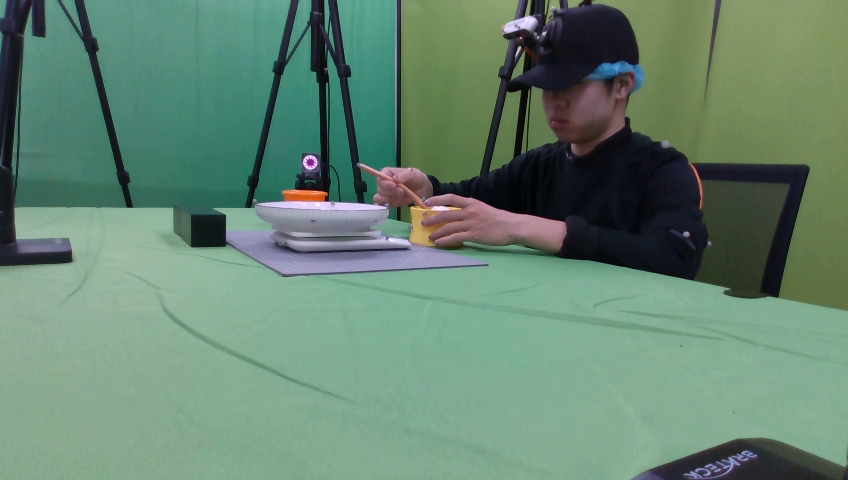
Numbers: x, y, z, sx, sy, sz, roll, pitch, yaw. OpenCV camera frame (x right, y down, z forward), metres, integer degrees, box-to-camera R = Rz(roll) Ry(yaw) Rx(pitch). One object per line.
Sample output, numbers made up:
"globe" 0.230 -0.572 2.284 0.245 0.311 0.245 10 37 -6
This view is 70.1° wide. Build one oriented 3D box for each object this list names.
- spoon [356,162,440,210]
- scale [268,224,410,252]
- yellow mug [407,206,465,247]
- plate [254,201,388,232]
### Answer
"spoon" -0.040 -0.094 1.099 0.193 0.021 0.042 34 16 8
"scale" -0.137 -0.006 0.979 0.202 0.031 0.148 -1 8 -30
"yellow mug" 0.027 -0.027 1.104 0.099 0.064 0.131 7 7 20
"plate" -0.161 -0.037 0.961 0.209 0.038 0.209 2 6 0
